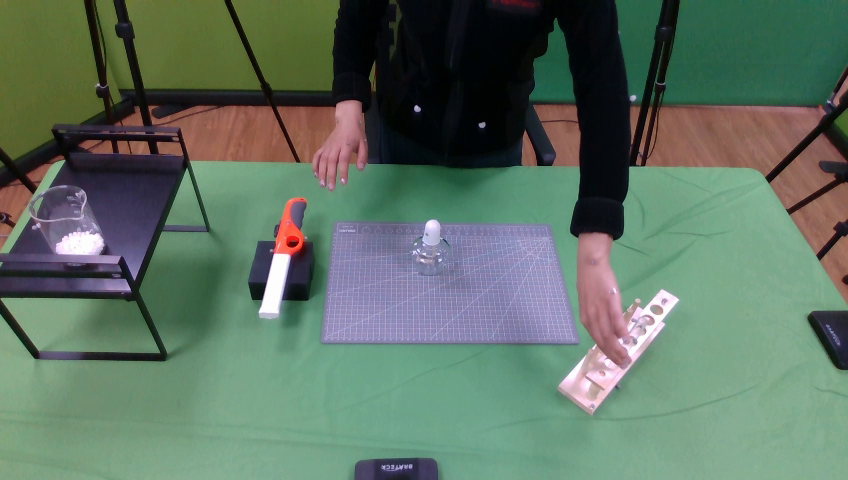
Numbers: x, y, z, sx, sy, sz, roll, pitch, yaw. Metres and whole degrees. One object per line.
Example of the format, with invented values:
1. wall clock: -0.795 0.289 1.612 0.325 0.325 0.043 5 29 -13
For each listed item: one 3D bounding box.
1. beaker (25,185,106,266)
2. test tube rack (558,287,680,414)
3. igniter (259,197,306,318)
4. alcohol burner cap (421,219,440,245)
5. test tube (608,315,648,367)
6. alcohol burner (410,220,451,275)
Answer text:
1. beaker: -0.507 -0.017 0.871 0.084 0.101 0.074 23 49 17
2. test tube rack: 0.327 0.170 1.009 0.066 0.085 0.242 36 54 27
3. igniter: -0.252 0.021 1.087 0.057 0.025 0.275 4 48 -3
4. alcohol burner cap: 0.014 -0.017 1.094 0.034 0.048 0.033 5 43 -4
5. test tube: 0.314 0.167 0.943 0.017 0.151 0.017 5 47 -5
6. alcohol burner: 0.013 0.008 1.120 0.078 0.120 0.077 1 48 -1
